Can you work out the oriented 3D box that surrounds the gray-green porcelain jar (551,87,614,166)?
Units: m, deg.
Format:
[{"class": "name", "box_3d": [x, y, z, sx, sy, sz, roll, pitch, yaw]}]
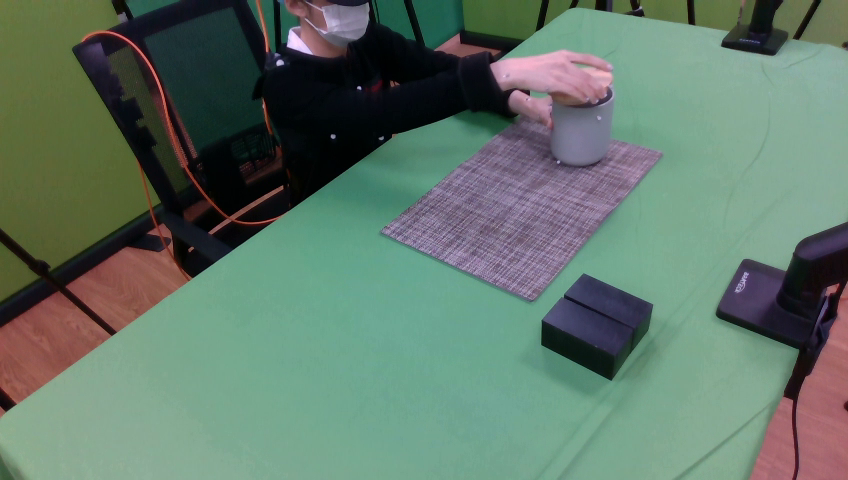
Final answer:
[{"class": "gray-green porcelain jar", "box_3d": [0.282, -0.205, 1.087, 0.106, 0.127, 0.105, -4, 40, 4]}]

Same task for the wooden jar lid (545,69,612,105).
[{"class": "wooden jar lid", "box_3d": [0.255, -0.253, 1.003, 0.108, 0.021, 0.108, -9, 36, 7]}]
